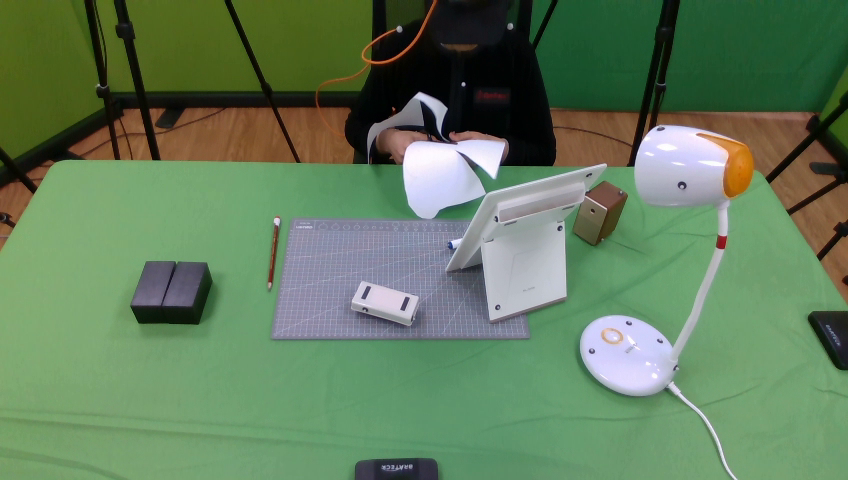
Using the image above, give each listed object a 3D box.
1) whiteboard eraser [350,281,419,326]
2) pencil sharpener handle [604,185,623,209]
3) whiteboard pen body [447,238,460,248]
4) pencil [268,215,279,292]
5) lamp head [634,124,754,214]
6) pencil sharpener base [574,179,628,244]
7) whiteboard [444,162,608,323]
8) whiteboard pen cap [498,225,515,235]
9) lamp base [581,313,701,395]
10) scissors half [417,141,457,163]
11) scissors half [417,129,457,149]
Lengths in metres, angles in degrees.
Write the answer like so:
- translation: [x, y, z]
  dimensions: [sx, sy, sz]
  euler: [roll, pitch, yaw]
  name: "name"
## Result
- translation: [-0.069, 0.113, 1.065]
  dimensions: [0.112, 0.042, 0.055]
  euler: [14, 46, 9]
  name: "whiteboard eraser"
- translation: [0.390, -0.091, 1.235]
  dimensions: [0.030, 0.068, 0.036]
  euler: [-33, 69, -31]
  name: "pencil sharpener handle"
- translation: [0.112, -0.006, 1.204]
  dimensions: [0.141, 0.017, 0.017]
  euler: [-14, 49, -18]
  name: "whiteboard pen body"
- translation: [-0.290, 0.023, 1.164]
  dimensions: [0.012, 0.012, 0.192]
  euler: [-2, 48, -6]
  name: "pencil"
- translation: [0.351, -0.089, 0.775]
  dimensions: [0.112, 0.113, 0.122]
  euler: [-30, 30, -28]
  name: "lamp head"
- translation: [0.355, -0.057, 1.217]
  dimensions: [0.076, 0.107, 0.061]
  euler: [-33, 56, -31]
  name: "pencil sharpener base"
- translation: [0.186, 0.025, 1.029]
  dimensions: [0.217, 0.306, 0.143]
  euler: [-14, 68, -18]
  name: "whiteboard"
- translation: [0.166, -0.019, 1.222]
  dimensions: [0.033, 0.018, 0.018]
  euler: [-14, 49, -19]
  name: "whiteboard pen cap"
- translation: [0.361, 0.144, 0.972]
  dimensions: [0.178, 0.181, 0.160]
  euler: [34, 53, 23]
  name: "lamp base"
- translation: [0.028, -0.200, 1.349]
  dimensions: [0.013, 0.175, 0.040]
  euler: [-4, 88, -28]
  name: "scissors half"
- translation: [0.027, -0.221, 1.346]
  dimensions: [0.013, 0.040, 0.174]
  euler: [-10, 21, -27]
  name: "scissors half"
